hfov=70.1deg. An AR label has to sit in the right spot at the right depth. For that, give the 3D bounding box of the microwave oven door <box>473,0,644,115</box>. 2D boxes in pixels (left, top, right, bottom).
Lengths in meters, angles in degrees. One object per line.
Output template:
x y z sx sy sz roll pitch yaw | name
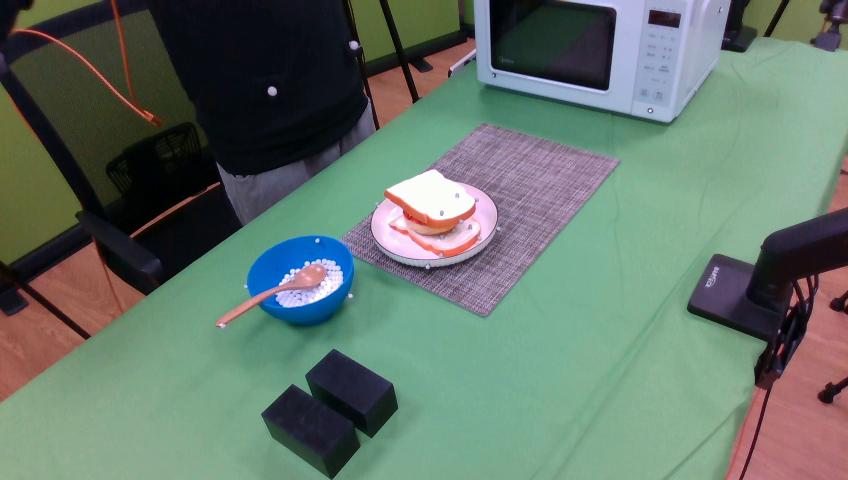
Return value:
0.257 -0.396 1.199 0.353 0.245 0.039 21 48 29 | microwave oven door

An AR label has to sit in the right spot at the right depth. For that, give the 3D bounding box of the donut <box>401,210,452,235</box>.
0.013 -0.047 0.957 0.099 0.048 0.098 -8 40 7 | donut

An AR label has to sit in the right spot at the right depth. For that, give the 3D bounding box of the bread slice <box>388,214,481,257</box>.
0.026 -0.023 0.973 0.107 0.018 0.133 -36 49 -28 | bread slice

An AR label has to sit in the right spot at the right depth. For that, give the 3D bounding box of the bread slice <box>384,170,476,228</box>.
0.017 -0.064 0.935 0.105 0.019 0.130 -27 46 -31 | bread slice

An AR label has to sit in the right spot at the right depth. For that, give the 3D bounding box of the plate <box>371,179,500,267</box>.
0.020 -0.025 0.977 0.207 0.039 0.206 -4 40 4 | plate

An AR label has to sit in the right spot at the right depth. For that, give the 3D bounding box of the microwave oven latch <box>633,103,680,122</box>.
0.444 -0.249 1.157 0.078 0.029 0.030 21 48 30 | microwave oven latch

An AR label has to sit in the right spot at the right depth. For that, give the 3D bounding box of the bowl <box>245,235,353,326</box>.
-0.171 0.070 0.868 0.151 0.077 0.150 -4 41 4 | bowl

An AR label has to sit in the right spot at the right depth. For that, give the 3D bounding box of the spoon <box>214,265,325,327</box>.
-0.207 0.073 0.821 0.041 0.021 0.195 22 27 26 | spoon

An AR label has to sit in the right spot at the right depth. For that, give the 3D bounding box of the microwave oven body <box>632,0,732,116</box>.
0.377 -0.462 1.267 0.438 0.261 0.327 21 48 30 | microwave oven body
